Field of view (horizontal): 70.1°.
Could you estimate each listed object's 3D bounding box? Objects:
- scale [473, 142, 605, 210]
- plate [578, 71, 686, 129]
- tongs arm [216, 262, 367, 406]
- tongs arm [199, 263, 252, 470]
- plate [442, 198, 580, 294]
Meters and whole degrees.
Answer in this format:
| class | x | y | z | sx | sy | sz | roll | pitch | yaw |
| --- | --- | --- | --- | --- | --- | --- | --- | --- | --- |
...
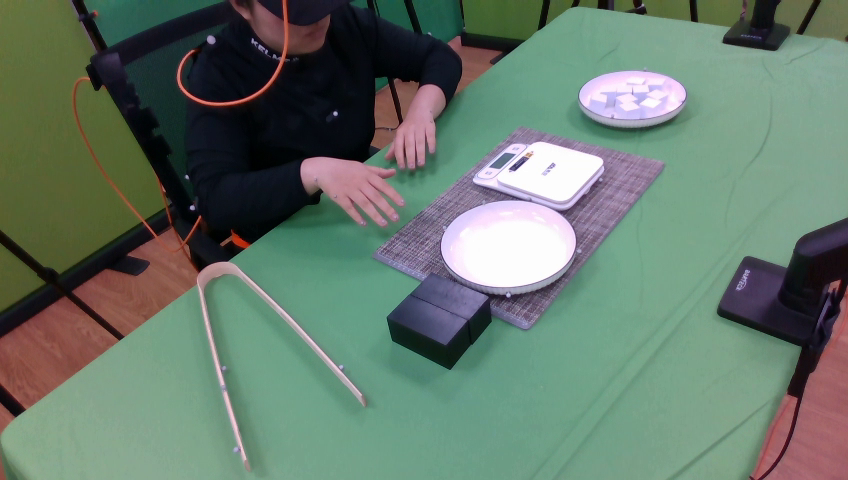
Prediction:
| class | x | y | z | sx | sy | sz | roll | pitch | yaw |
| --- | --- | --- | --- | --- | --- | --- | --- | --- | --- |
| scale | 0.202 | -0.121 | 1.074 | 0.199 | 0.032 | 0.149 | 23 | 49 | 33 |
| plate | 0.416 | -0.280 | 1.221 | 0.209 | 0.038 | 0.208 | -5 | 41 | 5 |
| tongs arm | -0.200 | 0.121 | 0.871 | 0.028 | 0.028 | 0.384 | -36 | 46 | -24 |
| tongs arm | -0.270 | 0.154 | 0.840 | 0.051 | 0.026 | 0.381 | -23 | 41 | -17 |
| plate | 0.132 | 0.012 | 0.925 | 0.207 | 0.039 | 0.206 | -5 | 40 | 5 |
